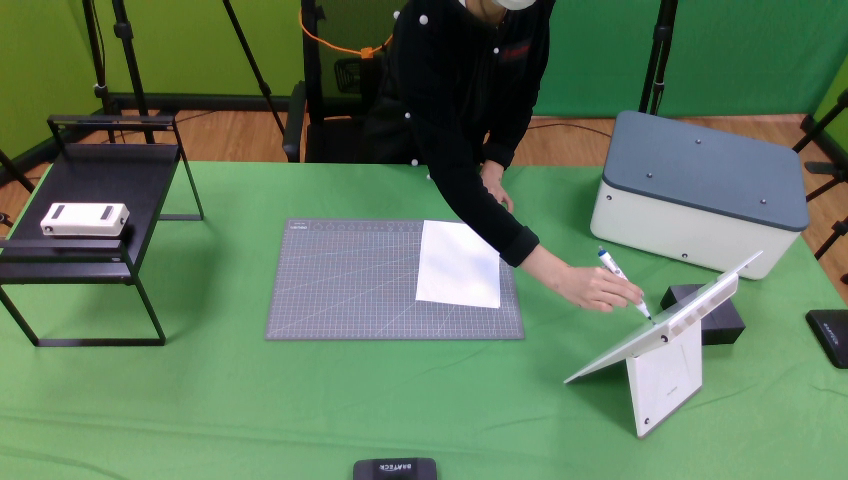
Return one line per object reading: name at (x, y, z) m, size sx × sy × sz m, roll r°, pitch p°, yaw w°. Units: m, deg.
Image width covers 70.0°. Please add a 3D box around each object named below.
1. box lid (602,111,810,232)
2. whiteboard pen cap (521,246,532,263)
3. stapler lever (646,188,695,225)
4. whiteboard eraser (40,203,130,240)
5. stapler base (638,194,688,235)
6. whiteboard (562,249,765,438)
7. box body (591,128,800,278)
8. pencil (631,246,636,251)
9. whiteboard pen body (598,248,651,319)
box lid at (0.544, -0.143, 1.176) m, size 0.371 × 0.015 × 0.262 m, roll 15°, pitch 47°, yaw 11°
whiteboard pen cap at (0.200, 0.029, 1.188) m, size 0.018 × 0.018 × 0.033 m, roll 15°, pitch 47°, yaw 10°
stapler lever at (0.515, -0.078, 1.265) m, size 0.027 × 0.040 × 0.117 m, roll -1°, pitch 41°, yaw -30°
whiteboard eraser at (-0.513, -0.028, 0.922) m, size 0.113 × 0.042 × 0.055 m, roll 1°, pitch 48°, yaw -3°
stapler base at (0.509, -0.059, 1.278) m, size 0.041 × 0.024 × 0.129 m, roll -1°, pitch 39°, yaw -30°
whiteboard at (0.386, 0.176, 0.905) m, size 0.217 × 0.306 × 0.143 m, roll -26°, pitch 72°, yaw -26°
box body at (0.539, -0.092, 1.229) m, size 0.363 × 0.161 × 0.253 m, roll 16°, pitch 47°, yaw 11°
pencil at (0.431, -0.060, 1.284) m, size 0.012 × 0.012 × 0.193 m, roll 3°, pitch 57°, yaw -1°
whiteboard pen body at (0.330, 0.073, 0.991) m, size 0.017 × 0.017 × 0.141 m, roll -38°, pitch 93°, yaw -33°
